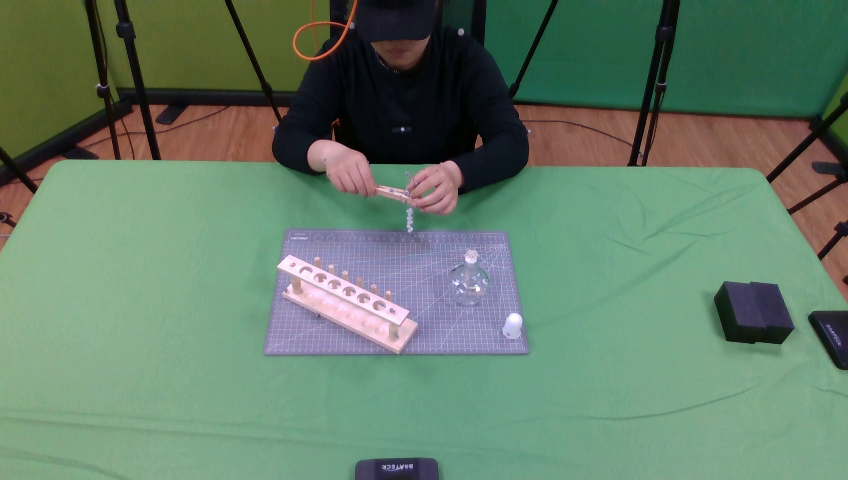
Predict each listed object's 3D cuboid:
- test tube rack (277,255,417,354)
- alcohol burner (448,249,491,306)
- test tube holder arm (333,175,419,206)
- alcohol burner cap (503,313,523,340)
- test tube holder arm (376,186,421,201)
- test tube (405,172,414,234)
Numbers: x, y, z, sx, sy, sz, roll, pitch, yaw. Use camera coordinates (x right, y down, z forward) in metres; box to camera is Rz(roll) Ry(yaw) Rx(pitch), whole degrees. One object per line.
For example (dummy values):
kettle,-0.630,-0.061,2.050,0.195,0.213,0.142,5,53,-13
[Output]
test tube rack,-0.131,0.099,1.045,0.241,0.085,0.066,23,49,17
alcohol burner,0.081,0.062,1.078,0.078,0.120,0.077,1,45,-1
test tube holder arm,-0.093,-0.096,1.159,0.178,0.015,0.013,16,41,13
alcohol burner cap,0.156,0.148,1.051,0.034,0.048,0.033,1,45,-1
test tube holder arm,-0.049,-0.089,1.154,0.088,0.015,0.010,9,40,5
test tube,-0.028,-0.068,1.159,0.017,0.151,0.017,1,45,-1
